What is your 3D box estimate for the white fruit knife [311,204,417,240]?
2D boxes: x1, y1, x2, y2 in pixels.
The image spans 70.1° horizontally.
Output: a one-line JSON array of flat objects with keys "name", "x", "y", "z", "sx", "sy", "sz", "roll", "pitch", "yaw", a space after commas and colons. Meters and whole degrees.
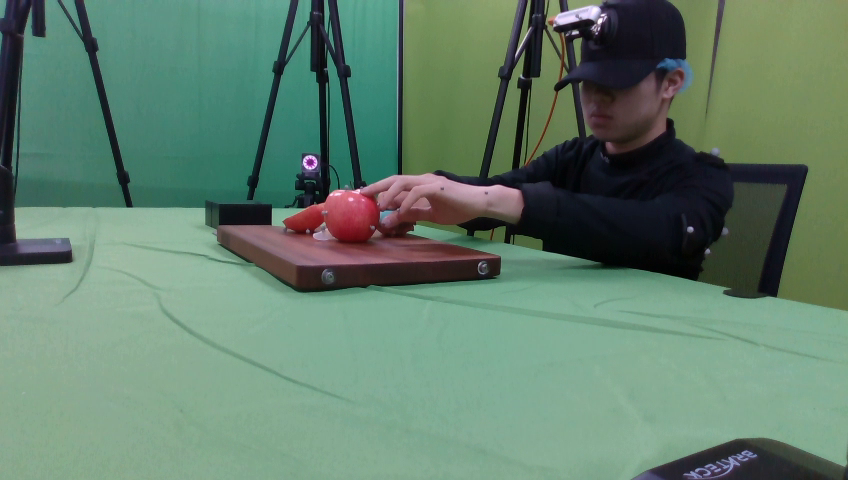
[{"name": "white fruit knife", "x": -0.084, "y": -0.027, "z": 0.901, "sx": 0.016, "sy": 0.027, "sz": 0.208, "roll": 12, "pitch": 20, "yaw": 40}]

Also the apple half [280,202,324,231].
[{"name": "apple half", "x": -0.175, "y": -0.033, "z": 0.927, "sx": 0.081, "sy": 0.033, "sz": 0.081, "roll": -21, "pitch": 0, "yaw": 0}]

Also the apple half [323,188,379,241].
[{"name": "apple half", "x": -0.094, "y": -0.034, "z": 0.841, "sx": 0.053, "sy": 0.074, "sz": 0.081, "roll": 16, "pitch": 11, "yaw": 43}]
